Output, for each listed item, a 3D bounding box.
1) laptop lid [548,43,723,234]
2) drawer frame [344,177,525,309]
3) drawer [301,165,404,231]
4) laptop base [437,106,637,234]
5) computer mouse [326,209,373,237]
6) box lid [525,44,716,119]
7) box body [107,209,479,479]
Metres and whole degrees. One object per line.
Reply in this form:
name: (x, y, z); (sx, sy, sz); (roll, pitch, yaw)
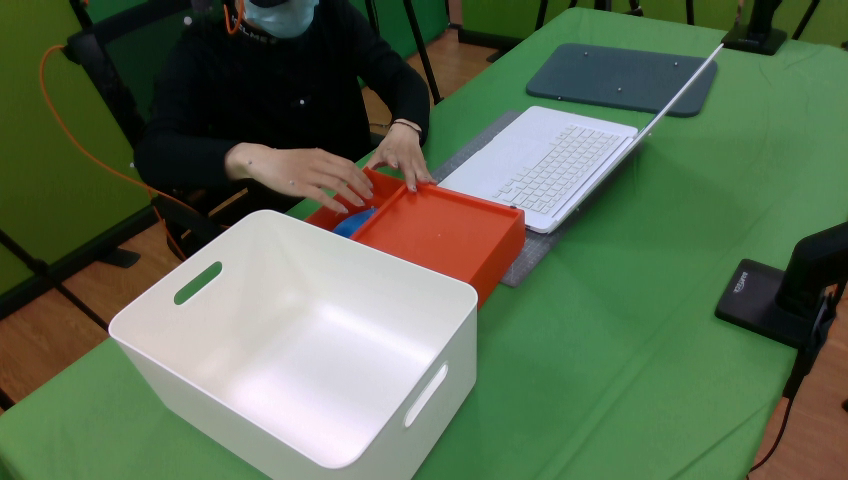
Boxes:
laptop lid: (0.336, -0.160, 0.956); (0.013, 0.241, 0.358); (43, 54, 8)
drawer frame: (0.014, 0.009, 0.911); (0.212, 0.083, 0.202); (18, 47, 26)
drawer: (-0.065, -0.017, 0.956); (0.210, 0.073, 0.195); (20, 48, 27)
laptop base: (0.210, -0.142, 1.111); (0.233, 0.023, 0.355); (21, 48, 33)
computer mouse: (-0.103, -0.022, 0.979); (0.062, 0.041, 0.118); (24, 39, 36)
box lid: (0.432, -0.360, 1.341); (0.369, 0.015, 0.263); (16, 45, 24)
box body: (-0.140, 0.136, 0.725); (0.361, 0.161, 0.254); (19, 47, 28)
